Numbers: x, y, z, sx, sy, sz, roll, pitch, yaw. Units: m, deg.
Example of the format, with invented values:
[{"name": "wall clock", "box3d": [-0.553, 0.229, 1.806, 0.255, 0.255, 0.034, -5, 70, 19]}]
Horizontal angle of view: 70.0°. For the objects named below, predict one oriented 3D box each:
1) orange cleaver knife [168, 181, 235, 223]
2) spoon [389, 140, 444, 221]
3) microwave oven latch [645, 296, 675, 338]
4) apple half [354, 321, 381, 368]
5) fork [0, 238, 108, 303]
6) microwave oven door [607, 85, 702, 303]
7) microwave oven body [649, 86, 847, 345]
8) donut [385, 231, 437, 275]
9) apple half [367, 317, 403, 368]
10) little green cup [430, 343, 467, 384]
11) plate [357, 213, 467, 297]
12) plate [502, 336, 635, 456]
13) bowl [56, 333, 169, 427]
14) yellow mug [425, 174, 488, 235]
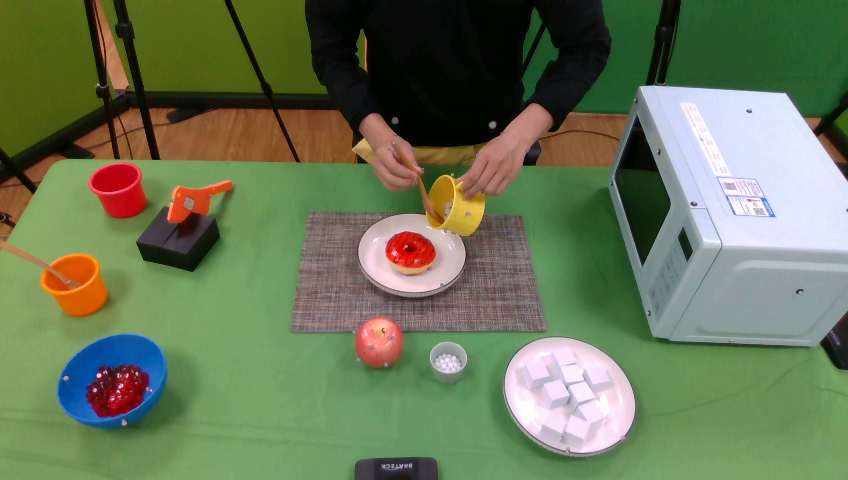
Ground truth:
[{"name": "orange cleaver knife", "box3d": [-0.436, -0.078, 1.196, 0.012, 0.077, 0.211, 16, 15, 10]}, {"name": "spoon", "box3d": [-0.012, -0.100, 1.046, 0.021, 0.195, 0.041, -31, 38, -2]}, {"name": "microwave oven latch", "box3d": [0.412, 0.134, 1.061, 0.030, 0.029, 0.078, 3, 45, 0]}, {"name": "apple half", "box3d": [-0.097, 0.176, 0.985, 0.033, 0.081, 0.080, -12, 48, -20]}, {"name": "fork", "box3d": [-0.633, 0.048, 1.017, 0.208, 0.018, 0.028, 40, 41, -27]}, {"name": "microwave oven door", "box3d": [0.423, -0.094, 1.140, 0.039, 0.245, 0.353, 2, 46, -1]}, {"name": "microwave oven body", "box3d": [0.568, -0.053, 1.118, 0.326, 0.261, 0.439, 2, 45, -1]}, {"name": "donut", "box3d": [-0.025, 0.024, 1.141, 0.099, 0.048, 0.098, 3, 44, -3]}, {"name": "apple half", "box3d": [-0.061, 0.167, 0.998, 0.053, 0.075, 0.080, -11, 44, -20]}, {"name": "little green cup", "box3d": [0.039, 0.203, 0.993, 0.061, 0.039, 0.061, 2, 46, -2]}, {"name": "plate", "box3d": [-0.023, 0.032, 1.150, 0.209, 0.038, 0.208, 2, 46, -2]}, {"name": "plate", "box3d": [0.225, 0.248, 0.963, 0.208, 0.039, 0.206, 2, 46, -2]}, {"name": "bowl", "box3d": [-0.456, 0.223, 0.911, 0.151, 0.077, 0.150, 3, 46, -2]}, {"name": "yellow mug", "box3d": [0.062, -0.071, 1.073, 0.064, 0.131, 0.099, 11, 52, -29]}]
